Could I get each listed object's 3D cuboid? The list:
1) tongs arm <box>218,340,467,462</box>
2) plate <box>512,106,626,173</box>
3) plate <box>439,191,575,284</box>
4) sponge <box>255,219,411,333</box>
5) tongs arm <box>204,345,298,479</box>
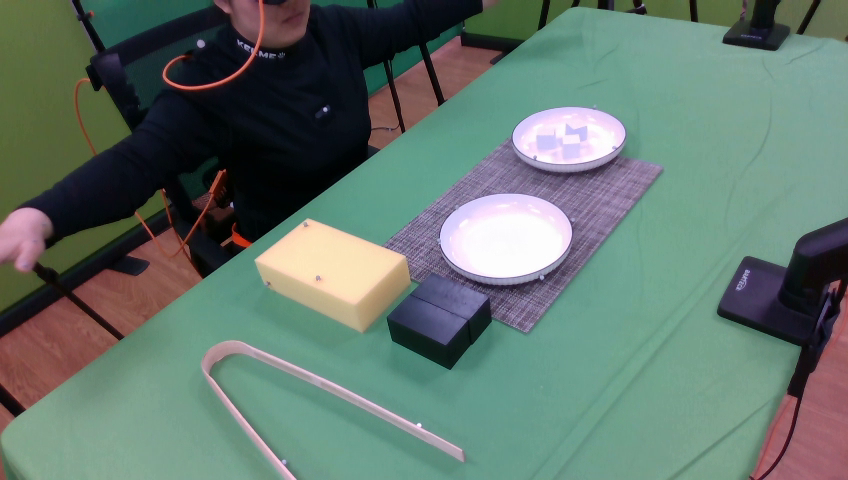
[{"bbox_3d":[-0.117,0.196,0.767,0.385,0.028,0.028,16,49,28],"label":"tongs arm"},{"bbox_3d":[0.269,-0.185,1.132,0.209,0.038,0.208,-5,40,5],"label":"plate"},{"bbox_3d":[0.129,-0.001,0.942,0.207,0.039,0.206,-5,40,5],"label":"plate"},{"bbox_3d":[-0.139,0.048,0.921,0.205,0.061,0.118,19,47,30],"label":"sponge"},{"bbox_3d":[-0.170,0.238,0.721,0.381,0.026,0.051,28,52,37],"label":"tongs arm"}]
